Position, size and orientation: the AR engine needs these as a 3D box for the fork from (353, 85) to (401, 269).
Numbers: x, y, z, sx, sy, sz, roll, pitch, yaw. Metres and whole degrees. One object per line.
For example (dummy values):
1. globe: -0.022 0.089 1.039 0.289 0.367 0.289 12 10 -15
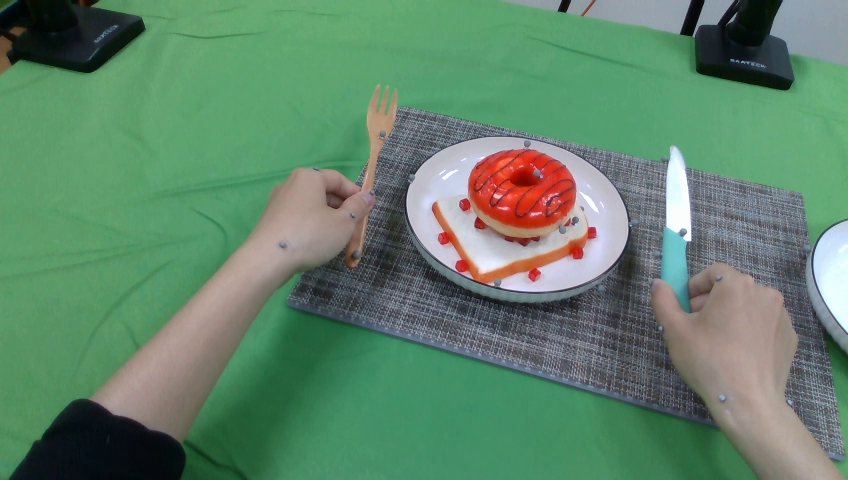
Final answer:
1. fork: -0.044 -0.064 0.556 0.028 0.019 0.205 -12 52 28

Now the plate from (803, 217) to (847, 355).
1. plate: 0.432 0.063 0.522 0.208 0.039 0.205 2 48 -2

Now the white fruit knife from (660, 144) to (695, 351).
1. white fruit knife: 0.219 -0.003 0.528 0.027 0.016 0.206 12 60 1

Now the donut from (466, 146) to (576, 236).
1. donut: 0.087 -0.046 0.543 0.099 0.048 0.098 2 48 -2

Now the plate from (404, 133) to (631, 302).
1. plate: 0.084 -0.022 0.570 0.209 0.038 0.207 2 48 -2

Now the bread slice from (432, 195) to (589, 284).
1. bread slice: 0.086 -0.017 0.568 0.132 0.019 0.103 -18 52 -17
